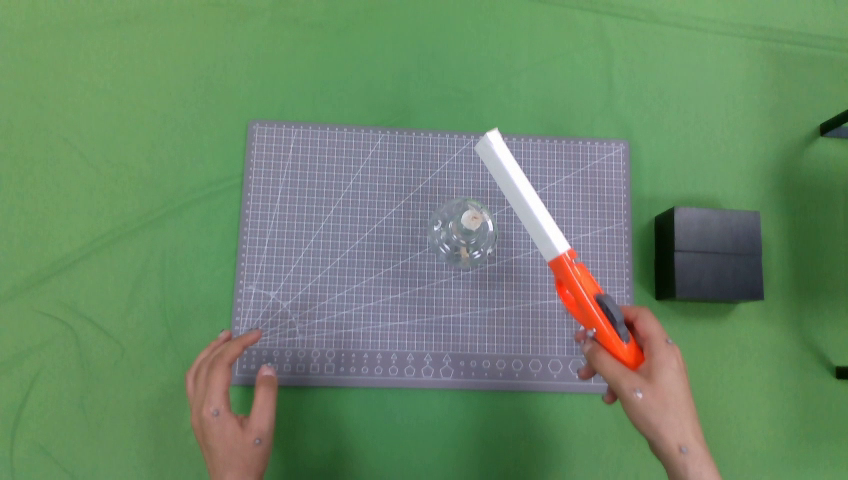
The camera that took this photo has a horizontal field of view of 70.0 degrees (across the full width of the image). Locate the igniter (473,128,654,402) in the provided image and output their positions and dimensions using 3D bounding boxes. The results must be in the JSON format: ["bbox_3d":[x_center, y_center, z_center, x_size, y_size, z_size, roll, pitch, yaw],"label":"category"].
[{"bbox_3d":[0.126,0.023,0.547,0.025,0.057,0.276,-28,84,-26],"label":"igniter"}]

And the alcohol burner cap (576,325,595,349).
[{"bbox_3d":[0.190,0.104,0.668,0.034,0.048,0.033,1,79,-3],"label":"alcohol burner cap"}]

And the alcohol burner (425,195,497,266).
[{"bbox_3d":[0.042,-0.013,0.640,0.078,0.119,0.077,1,80,-6],"label":"alcohol burner"}]
